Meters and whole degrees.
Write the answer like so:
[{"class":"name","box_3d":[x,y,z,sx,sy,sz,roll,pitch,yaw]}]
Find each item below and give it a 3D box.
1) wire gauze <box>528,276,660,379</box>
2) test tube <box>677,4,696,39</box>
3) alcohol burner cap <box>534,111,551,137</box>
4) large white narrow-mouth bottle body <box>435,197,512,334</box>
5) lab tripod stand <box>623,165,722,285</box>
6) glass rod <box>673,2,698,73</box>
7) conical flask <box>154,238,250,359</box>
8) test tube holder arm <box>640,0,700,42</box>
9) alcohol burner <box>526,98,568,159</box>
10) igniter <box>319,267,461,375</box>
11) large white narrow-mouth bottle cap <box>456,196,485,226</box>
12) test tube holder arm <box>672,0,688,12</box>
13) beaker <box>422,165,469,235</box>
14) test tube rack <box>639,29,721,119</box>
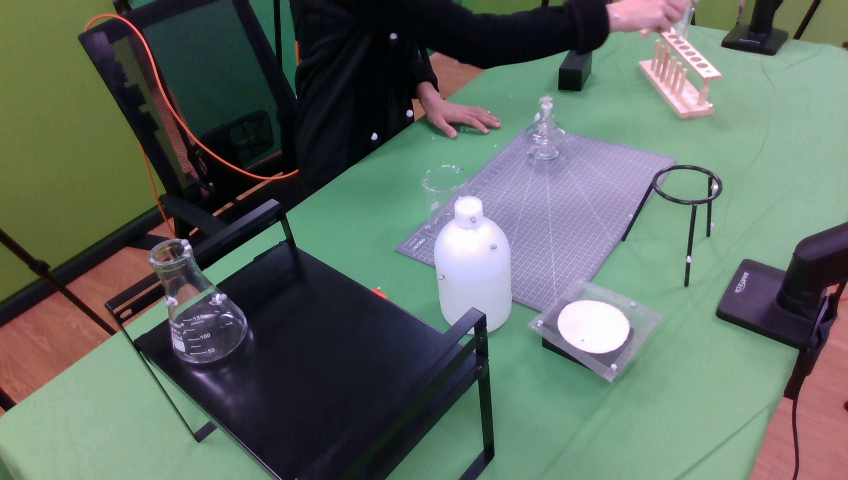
[{"class":"wire gauze","box_3d":[0.214,0.103,0.763,0.124,0.011,0.122,30,53,35]},{"class":"test tube","box_3d":[0.469,-0.415,1.063,0.017,0.151,0.017,-3,58,6]},{"class":"alcohol burner cap","box_3d":[0.234,-0.231,1.197,0.034,0.048,0.033,-5,37,5]},{"class":"large white narrow-mouth bottle body","box_3d":[0.066,0.028,0.805,0.102,0.195,0.101,-4,40,4]},{"class":"lab tripod stand","box_3d":[0.365,-0.030,0.874,0.148,0.132,0.147,-6,41,6]},{"class":"glass rod","box_3d":[0.537,-0.424,1.244,0.008,0.200,0.008,0,47,0]},{"class":"conical flask","box_3d":[-0.225,0.055,0.597,0.075,0.122,0.075,-5,41,4]},{"class":"test tube holder arm","box_3d":[0.422,-0.381,1.022,0.179,0.015,0.013,-39,60,-24]},{"class":"alcohol burner","box_3d":[0.228,-0.210,1.118,0.078,0.119,0.077,-5,43,5]},{"class":"igniter","box_3d":[-0.060,0.108,0.862,0.274,0.025,0.057,29,63,35]},{"class":"large white narrow-mouth bottle cap","box_3d":[0.057,-0.036,0.749,0.038,0.024,0.037,-4,40,4]},{"class":"test tube holder arm","box_3d":[0.449,-0.411,1.043,0.010,0.015,0.088,31,60,23]},{"class":"beaker","box_3d":[0.041,-0.063,0.986,0.073,0.101,0.084,20,47,29]},{"class":"test tube rack","box_3d":[0.527,-0.351,1.262,0.067,0.085,0.241,-7,40,1]}]
